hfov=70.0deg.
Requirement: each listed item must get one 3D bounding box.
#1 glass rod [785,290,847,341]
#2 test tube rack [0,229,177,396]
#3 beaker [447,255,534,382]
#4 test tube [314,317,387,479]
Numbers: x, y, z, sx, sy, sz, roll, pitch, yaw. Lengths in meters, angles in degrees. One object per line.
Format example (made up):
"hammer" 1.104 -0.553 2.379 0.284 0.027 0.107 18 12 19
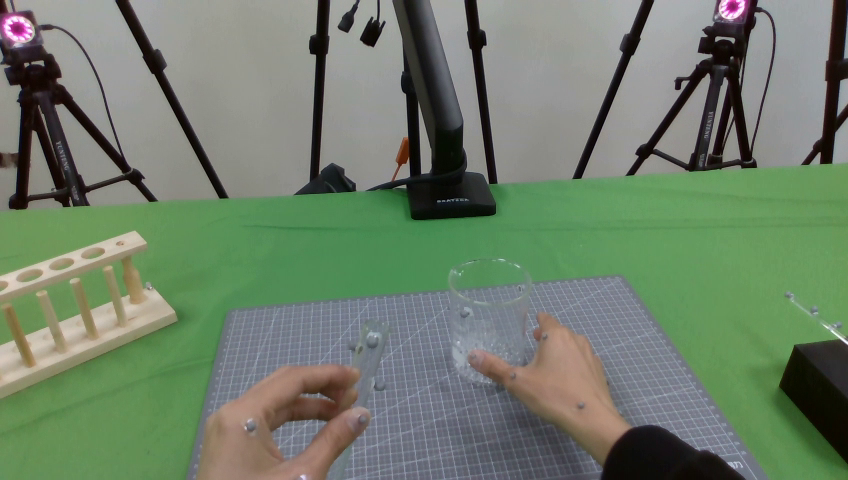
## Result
"glass rod" 0.381 0.099 0.507 0.008 0.008 0.197 -10 32 -14
"test tube rack" -0.375 0.078 0.577 0.243 0.086 0.066 -25 40 -34
"beaker" 0.056 0.073 0.559 0.083 0.101 0.074 26 40 37
"test tube" -0.048 0.113 0.359 0.017 0.151 0.017 16 19 -5
